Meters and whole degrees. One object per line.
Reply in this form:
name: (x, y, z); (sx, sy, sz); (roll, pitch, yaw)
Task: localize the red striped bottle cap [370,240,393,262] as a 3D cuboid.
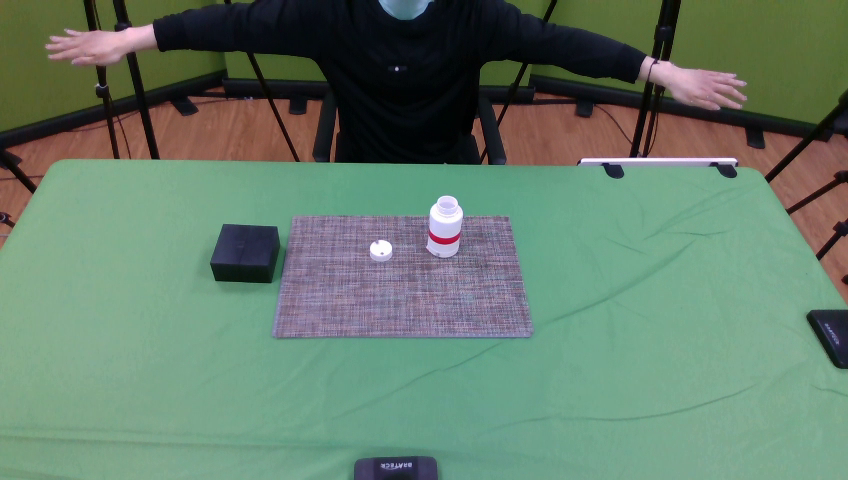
red striped bottle cap: (-0.082, 0.020, 1.168); (0.044, 0.018, 0.044); (-2, 47, 3)

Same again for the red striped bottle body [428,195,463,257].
red striped bottle body: (0.041, -0.028, 1.152); (0.063, 0.120, 0.062); (2, 46, -2)
